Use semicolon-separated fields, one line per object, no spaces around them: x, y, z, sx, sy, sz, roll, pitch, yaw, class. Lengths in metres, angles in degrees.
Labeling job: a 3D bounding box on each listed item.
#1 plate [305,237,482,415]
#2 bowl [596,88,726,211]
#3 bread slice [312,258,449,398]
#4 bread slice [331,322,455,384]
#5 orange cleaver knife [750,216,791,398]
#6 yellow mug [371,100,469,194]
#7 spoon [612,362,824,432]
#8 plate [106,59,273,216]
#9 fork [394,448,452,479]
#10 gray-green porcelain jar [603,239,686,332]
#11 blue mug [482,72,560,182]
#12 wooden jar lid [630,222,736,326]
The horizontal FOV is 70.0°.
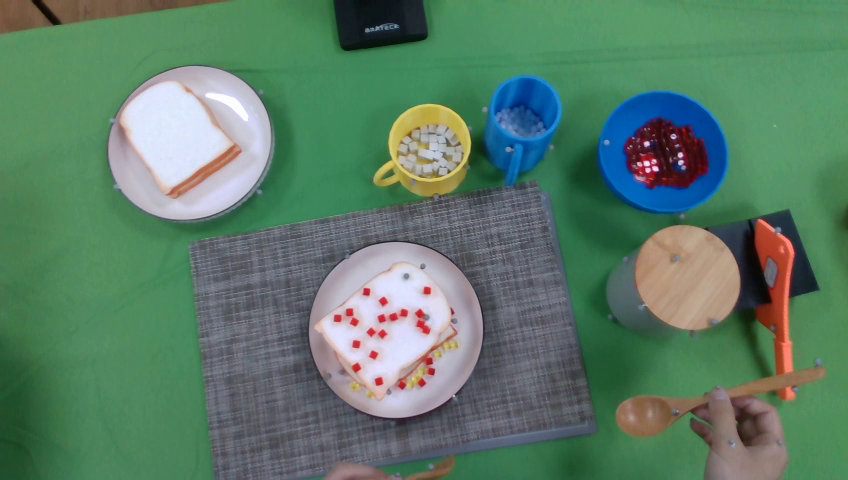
-0.035;0.100;0.720;0.209;0.038;0.208;0;78;1;plate
0.278;-0.100;0.743;0.151;0.077;0.150;0;79;0;bowl
-0.041;0.086;0.664;0.107;0.018;0.134;45;76;3;bread slice
-0.043;0.111;0.723;0.131;0.019;0.104;-41;80;-11;bread slice
0.401;0.078;0.704;0.012;0.077;0.212;-11;105;-1;orange cleaver knife
-0.008;-0.107;0.752;0.131;0.064;0.099;-30;79;-4;yellow mug
0.279;0.148;0.584;0.193;0.022;0.041;-23;52;24;spoon
-0.293;-0.128;0.773;0.208;0.039;0.206;0;78;0;plate
-0.010;0.214;0.542;0.028;0.209;0.018;-23;74;14;fork
0.267;0.050;0.688;0.106;0.127;0.105;0;78;0;gray-green porcelain jar
0.112;-0.127;0.737;0.082;0.106;0.116;11;79;3;blue mug
0.266;0.035;0.627;0.108;0.021;0.108;0;80;-2;wooden jar lid
